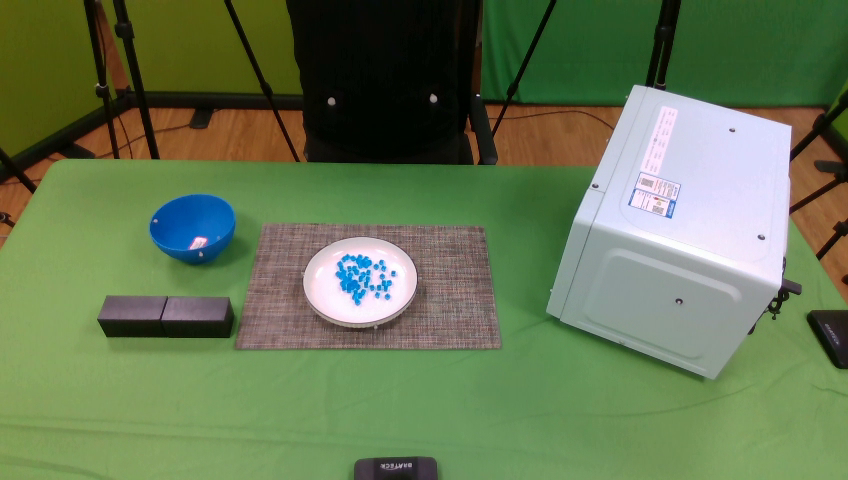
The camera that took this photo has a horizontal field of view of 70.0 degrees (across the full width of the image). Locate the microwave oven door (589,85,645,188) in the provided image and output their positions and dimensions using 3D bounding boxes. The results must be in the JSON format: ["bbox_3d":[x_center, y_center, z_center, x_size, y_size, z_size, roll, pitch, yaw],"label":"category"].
[{"bbox_3d":[0.342,-0.107,1.149,0.039,0.245,0.354,20,48,15],"label":"microwave oven door"}]

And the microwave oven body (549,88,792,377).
[{"bbox_3d":[0.456,-0.028,1.088,0.325,0.261,0.440,20,47,16],"label":"microwave oven body"}]

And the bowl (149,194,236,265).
[{"bbox_3d":[-0.425,-0.009,1.134,0.151,0.077,0.150,2,46,-2],"label":"bowl"}]

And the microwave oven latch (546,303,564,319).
[{"bbox_3d":[0.242,0.102,1.081,0.030,0.029,0.079,22,48,17],"label":"microwave oven latch"}]

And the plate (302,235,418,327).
[{"bbox_3d":[-0.114,0.077,1.098,0.208,0.039,0.206,2,46,-2],"label":"plate"}]
